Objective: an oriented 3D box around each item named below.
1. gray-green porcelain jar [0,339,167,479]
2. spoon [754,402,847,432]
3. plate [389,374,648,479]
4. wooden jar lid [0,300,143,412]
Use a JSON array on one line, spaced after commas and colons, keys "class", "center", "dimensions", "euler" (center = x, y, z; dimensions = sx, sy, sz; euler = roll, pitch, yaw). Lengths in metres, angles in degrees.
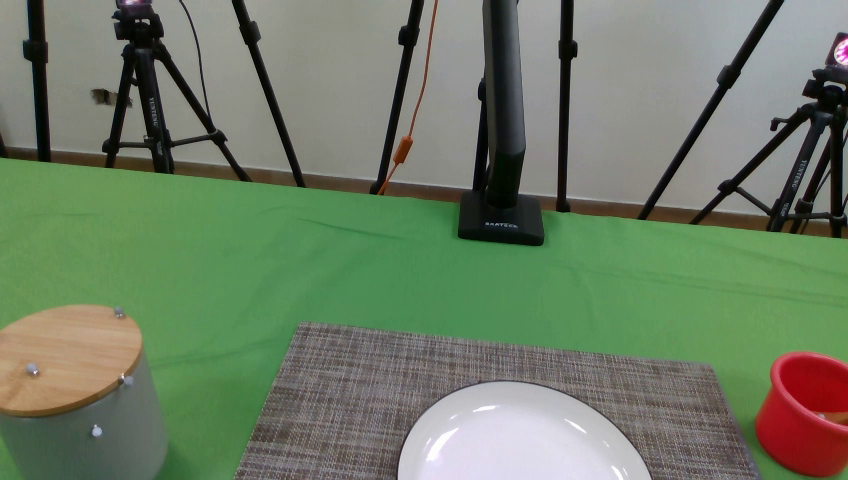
[{"class": "gray-green porcelain jar", "center": [-0.263, 0.137, 0.471], "dimensions": [0.106, 0.127, 0.105], "euler": [4, 34, -2]}, {"class": "spoon", "center": [0.383, 0.147, 0.517], "dimensions": [0.041, 0.021, 0.193], "euler": [-31, 3, -40]}, {"class": "plate", "center": [0.075, 0.199, 0.493], "dimensions": [0.208, 0.039, 0.205], "euler": [3, 34, -2]}, {"class": "wooden jar lid", "center": [-0.260, 0.084, 0.435], "dimensions": [0.108, 0.021, 0.107], "euler": [6, 33, -4]}]
